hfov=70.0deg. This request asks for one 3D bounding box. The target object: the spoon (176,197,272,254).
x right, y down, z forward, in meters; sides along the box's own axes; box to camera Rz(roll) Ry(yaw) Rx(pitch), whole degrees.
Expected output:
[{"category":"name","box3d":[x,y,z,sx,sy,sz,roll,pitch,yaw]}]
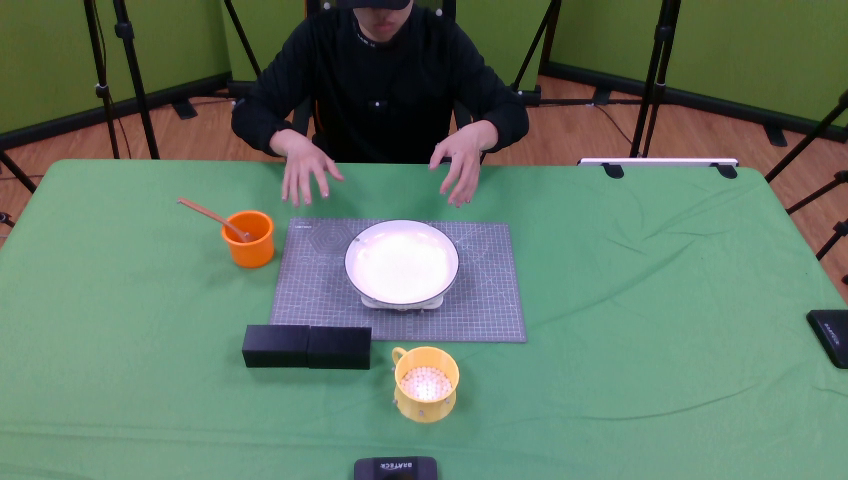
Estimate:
[{"category":"spoon","box3d":[-0.362,-0.028,1.108,0.021,0.195,0.041,-35,36,24]}]

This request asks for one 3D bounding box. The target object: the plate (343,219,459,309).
[{"category":"plate","box3d":[-0.041,0.046,1.094,0.209,0.038,0.208,2,46,-2]}]

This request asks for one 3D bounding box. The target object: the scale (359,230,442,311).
[{"category":"scale","box3d":[-0.043,0.047,1.138,0.149,0.032,0.199,2,46,-3]}]

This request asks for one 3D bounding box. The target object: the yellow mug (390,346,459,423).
[{"category":"yellow mug","box3d":[-0.009,0.217,0.958,0.100,0.064,0.130,-33,56,-31]}]
